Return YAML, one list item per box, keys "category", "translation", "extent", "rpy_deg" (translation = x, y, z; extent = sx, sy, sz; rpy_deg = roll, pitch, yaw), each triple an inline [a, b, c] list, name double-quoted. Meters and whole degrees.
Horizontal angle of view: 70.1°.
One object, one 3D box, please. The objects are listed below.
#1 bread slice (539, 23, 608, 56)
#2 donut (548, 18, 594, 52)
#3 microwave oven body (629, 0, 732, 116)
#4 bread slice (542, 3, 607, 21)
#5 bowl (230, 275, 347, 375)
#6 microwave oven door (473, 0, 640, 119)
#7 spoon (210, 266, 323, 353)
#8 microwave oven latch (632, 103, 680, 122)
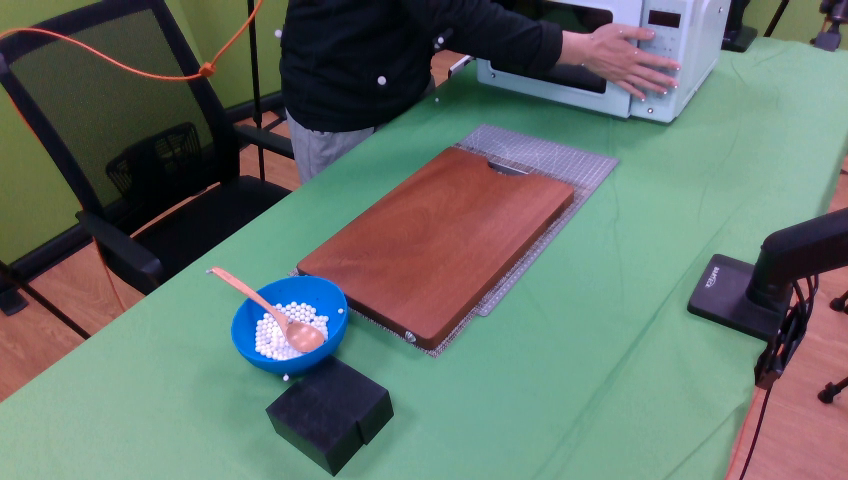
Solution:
- category: "bread slice"
  translation: [0.336, -0.448, 1.336]
  extent: [0.132, 0.019, 0.104]
  rpy_deg: [-28, 43, -20]
- category: "donut"
  translation: [0.316, -0.442, 1.301]
  extent: [0.099, 0.048, 0.098]
  rpy_deg: [-18, 37, 15]
- category: "microwave oven body"
  translation: [0.377, -0.463, 1.267]
  extent: [0.438, 0.261, 0.327]
  rpy_deg: [21, 49, 30]
- category: "bread slice"
  translation: [0.323, -0.484, 1.279]
  extent: [0.106, 0.018, 0.135]
  rpy_deg: [19, 35, 29]
- category: "bowl"
  translation: [-0.170, 0.125, 0.802]
  extent: [0.151, 0.077, 0.150]
  rpy_deg: [-4, 40, 4]
- category: "microwave oven door"
  translation: [0.252, -0.391, 1.195]
  extent: [0.353, 0.245, 0.039]
  rpy_deg: [23, 49, 31]
- category: "spoon"
  translation: [-0.213, 0.087, 0.806]
  extent: [0.193, 0.021, 0.042]
  rpy_deg: [36, 56, 11]
- category: "microwave oven latch"
  translation: [0.443, -0.249, 1.157]
  extent: [0.078, 0.029, 0.030]
  rpy_deg: [20, 48, 29]
